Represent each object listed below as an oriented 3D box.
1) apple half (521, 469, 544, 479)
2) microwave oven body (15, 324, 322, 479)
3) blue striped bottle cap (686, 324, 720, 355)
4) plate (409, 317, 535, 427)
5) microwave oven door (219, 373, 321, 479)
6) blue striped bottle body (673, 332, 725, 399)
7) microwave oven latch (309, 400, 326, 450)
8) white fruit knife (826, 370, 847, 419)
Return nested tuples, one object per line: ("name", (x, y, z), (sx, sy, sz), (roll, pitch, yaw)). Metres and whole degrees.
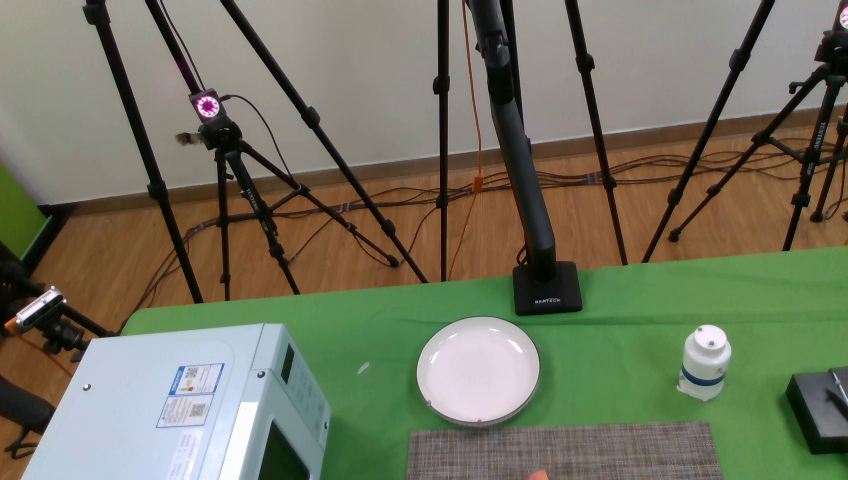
("apple half", (0.149, 0.360, 0.819), (0.053, 0.075, 0.080), (-22, 48, -1))
("microwave oven body", (-0.346, 0.370, 0.805), (0.325, 0.263, 0.437), (-6, 45, 8))
("blue striped bottle cap", (0.400, 0.143, 0.868), (0.044, 0.021, 0.044), (-7, 47, 8))
("plate", (0.080, 0.222, 1.010), (0.207, 0.039, 0.205), (-7, 44, 7))
("microwave oven door", (-0.205, 0.379, 0.750), (0.039, 0.246, 0.352), (-7, 44, 9))
("blue striped bottle body", (0.409, 0.180, 0.903), (0.063, 0.122, 0.062), (-8, 44, 8))
("microwave oven latch", (-0.176, 0.297, 0.974), (0.030, 0.030, 0.078), (-6, 45, 8))
("white fruit knife", (0.574, 0.269, 0.792), (0.016, 0.028, 0.205), (-21, 58, 18))
